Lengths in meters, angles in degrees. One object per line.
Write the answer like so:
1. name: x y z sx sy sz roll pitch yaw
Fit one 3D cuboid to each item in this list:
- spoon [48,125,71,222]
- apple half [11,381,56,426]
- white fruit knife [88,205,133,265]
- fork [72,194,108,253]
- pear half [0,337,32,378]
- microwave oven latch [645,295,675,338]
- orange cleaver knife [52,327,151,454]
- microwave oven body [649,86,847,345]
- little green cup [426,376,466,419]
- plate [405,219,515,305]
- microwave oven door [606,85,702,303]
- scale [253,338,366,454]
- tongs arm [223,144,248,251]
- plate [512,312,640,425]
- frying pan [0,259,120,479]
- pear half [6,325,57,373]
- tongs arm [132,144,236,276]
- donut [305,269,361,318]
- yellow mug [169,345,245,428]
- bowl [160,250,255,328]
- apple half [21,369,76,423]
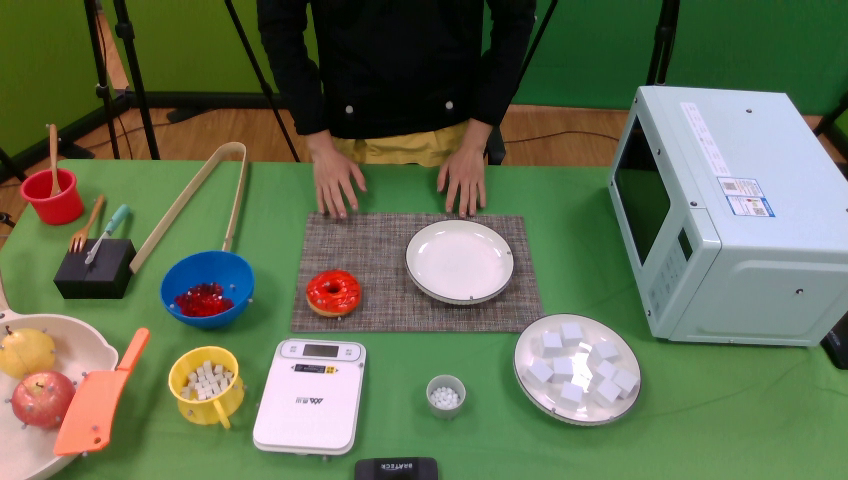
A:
1. spoon: -0.719 -0.131 1.189 0.041 0.021 0.193 -3 91 -6
2. apple half: -0.570 0.246 0.875 0.081 0.081 0.033 32 49 24
3. white fruit knife: -0.584 -0.013 1.129 0.016 0.027 0.206 -1 32 -4
4. fork: -0.634 -0.036 1.158 0.028 0.019 0.206 -8 31 -8
5. pear half: -0.631 0.183 0.923 0.070 0.088 0.031 28 50 15
6. microwave oven latch: 0.411 0.134 1.061 0.030 0.029 0.078 3 45 0
7. orange cleaver knife: -0.462 0.212 0.879 0.077 0.012 0.210 6 45 -1
8. microwave oven body: 0.567 -0.053 1.118 0.326 0.261 0.439 2 45 -1
9. little green cup: 0.033 0.248 0.950 0.061 0.039 0.061 2 46 -2
10. plate: 0.067 0.044 1.144 0.209 0.038 0.208 2 46 -2
11. microwave oven door: 0.422 -0.094 1.140 0.039 0.245 0.353 2 46 -1
12. scale: -0.175 0.236 0.951 0.149 0.032 0.199 4 45 0
13. tongs arm: -0.397 -0.073 1.232 0.051 0.027 0.382 -3 45 1
14. plate: 0.246 0.213 0.999 0.208 0.039 0.206 2 46 -2
15. frying pan: -0.647 0.164 0.936 0.307 0.103 0.485 -19 58 -22
16. pear half: -0.607 0.158 0.935 0.076 0.110 0.056 31 51 19
17. tongs arm: -0.484 -0.075 1.237 0.028 0.028 0.385 5 45 14
18. donut: -0.160 0.094 1.075 0.099 0.048 0.098 4 45 -3
19. yellow mug: -0.322 0.230 0.922 0.100 0.064 0.130 -24 53 -25
20. bowl: -0.362 0.098 1.040 0.151 0.077 0.150 2 45 -2
21. apple half: -0.546 0.226 0.898 0.080 0.075 0.053 30 48 27
